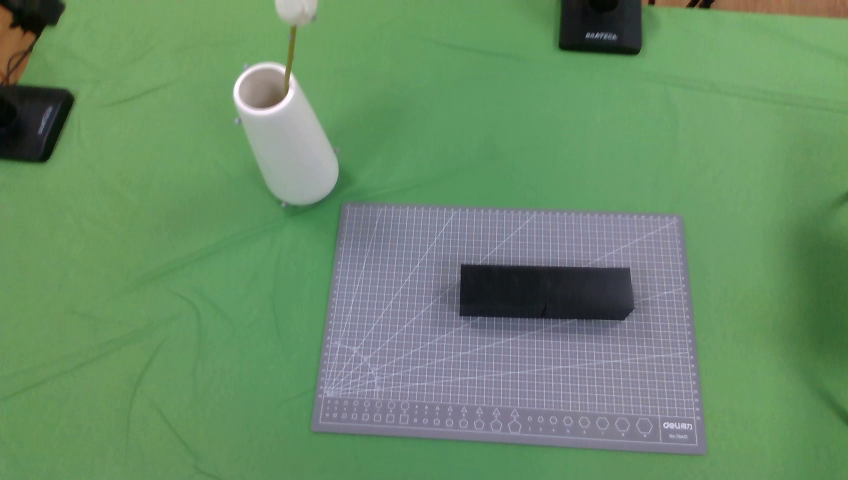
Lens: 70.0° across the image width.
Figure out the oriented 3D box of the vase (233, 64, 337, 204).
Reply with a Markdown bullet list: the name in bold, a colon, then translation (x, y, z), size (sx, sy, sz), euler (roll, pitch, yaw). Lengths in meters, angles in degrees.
- **vase**: translation (-0.168, -0.126, 0.747), size (0.098, 0.201, 0.097), euler (-1, 65, 2)

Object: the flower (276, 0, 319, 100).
- **flower**: translation (-0.155, -0.161, 0.672), size (0.038, 0.363, 0.044), euler (22, 61, -7)
